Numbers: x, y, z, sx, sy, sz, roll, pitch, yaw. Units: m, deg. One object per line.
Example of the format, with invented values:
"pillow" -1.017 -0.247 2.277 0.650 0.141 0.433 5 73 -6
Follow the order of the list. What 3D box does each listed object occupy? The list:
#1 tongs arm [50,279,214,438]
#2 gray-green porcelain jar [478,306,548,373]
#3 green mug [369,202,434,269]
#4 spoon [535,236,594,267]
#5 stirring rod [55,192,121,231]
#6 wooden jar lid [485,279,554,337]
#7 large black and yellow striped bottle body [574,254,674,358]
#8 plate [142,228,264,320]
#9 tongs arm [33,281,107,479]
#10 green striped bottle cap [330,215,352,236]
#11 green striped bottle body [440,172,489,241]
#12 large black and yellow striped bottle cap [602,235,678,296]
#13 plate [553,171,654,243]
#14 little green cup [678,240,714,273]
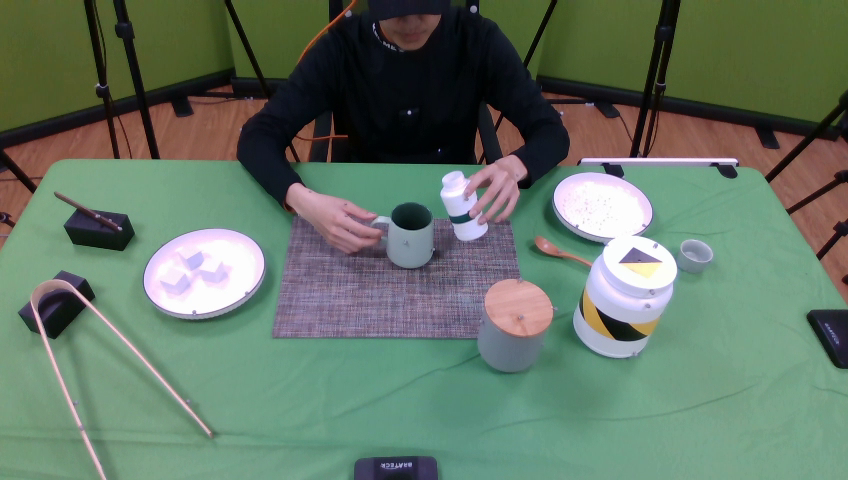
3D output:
"tongs arm" -0.459 0.178 0.949 0.386 0.028 0.028 37 60 17
"gray-green porcelain jar" 0.144 0.148 0.988 0.106 0.127 0.105 2 50 -2
"green mug" -0.042 -0.010 1.140 0.125 0.105 0.092 7 47 3
"spoon" 0.303 0.040 1.178 0.193 0.022 0.041 25 29 19
"stirring rod" -0.632 -0.055 1.138 0.175 0.014 0.006 24 50 19
"wooden jar lid" 0.147 0.108 0.940 0.108 0.021 0.107 4 47 -4
"large black and yellow striped bottle body" 0.335 0.096 1.014 0.131 0.185 0.130 2 46 -2
"plate" -0.394 0.064 1.095 0.208 0.039 0.206 2 46 -2
"tongs arm" -0.517 0.214 0.910 0.051 0.026 0.383 -29 63 -27
"green striped bottle cap" -0.166 -0.029 1.213 0.044 0.020 0.044 1 50 -1
"green striped bottle body" 0.070 -0.063 1.091 0.063 0.120 0.063 -18 29 10
"large black and yellow striped bottle cap" 0.340 0.037 0.955 0.115 0.019 0.114 2 47 -1
"plate" 0.373 -0.066 1.275 0.209 0.038 0.208 2 46 -2
"little green cup" 0.530 0.033 1.190 0.061 0.039 0.061 2 46 -1
